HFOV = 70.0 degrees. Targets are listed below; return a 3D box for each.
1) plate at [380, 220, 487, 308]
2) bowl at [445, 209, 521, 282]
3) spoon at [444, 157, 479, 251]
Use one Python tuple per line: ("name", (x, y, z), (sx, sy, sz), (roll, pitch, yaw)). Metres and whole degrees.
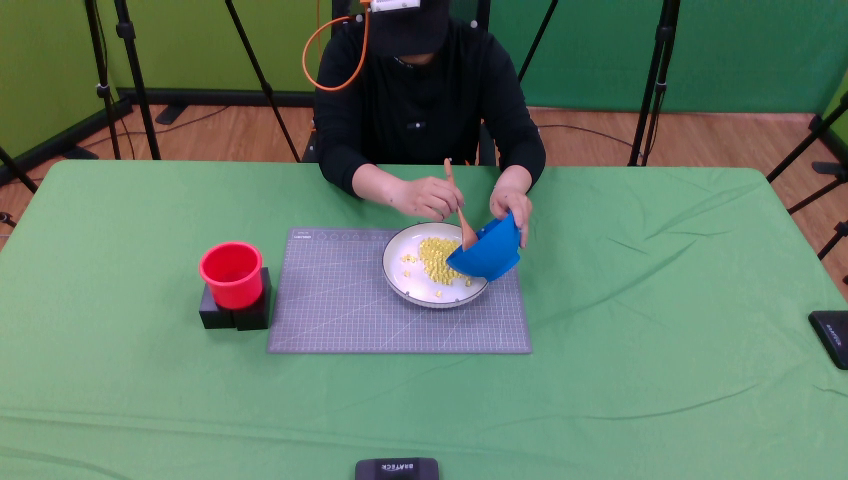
("plate", (0.022, 0.048, 1.138), (0.208, 0.039, 0.206), (2, 46, -2))
("bowl", (0.119, 0.021, 1.069), (0.151, 0.151, 0.077), (-41, 94, -34))
("spoon", (0.065, -0.056, 1.097), (0.042, 0.021, 0.193), (-18, 90, -29))
